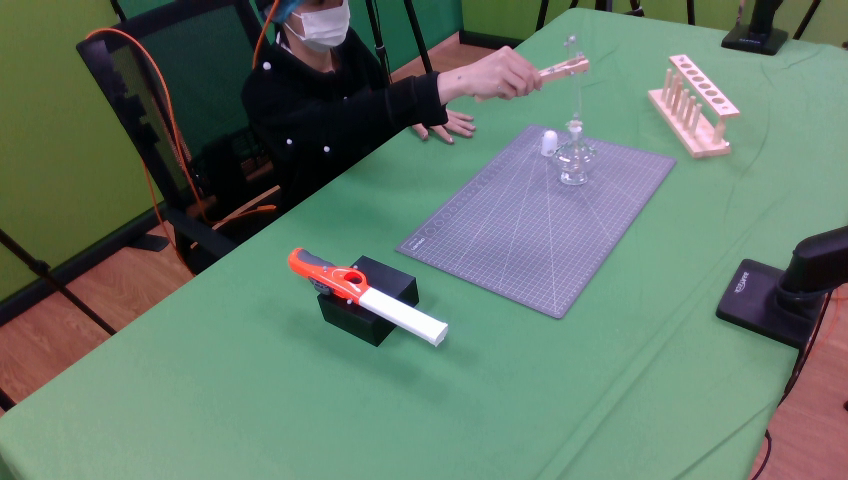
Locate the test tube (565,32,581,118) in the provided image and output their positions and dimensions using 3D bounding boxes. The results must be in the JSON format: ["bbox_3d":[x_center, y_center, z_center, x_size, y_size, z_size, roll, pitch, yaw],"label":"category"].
[{"bbox_3d":[0.234,-0.254,0.944,0.017,0.151,0.017,-10,46,10],"label":"test tube"}]

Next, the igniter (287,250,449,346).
[{"bbox_3d":[-0.087,0.073,0.825,0.274,0.025,0.057,23,48,27],"label":"igniter"}]

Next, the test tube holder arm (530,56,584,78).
[{"bbox_3d":[0.206,-0.262,0.934,0.088,0.015,0.010,-22,45,-3],"label":"test tube holder arm"}]

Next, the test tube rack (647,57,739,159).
[{"bbox_3d":[0.504,-0.257,1.153,0.067,0.085,0.241,-8,40,1],"label":"test tube rack"}]

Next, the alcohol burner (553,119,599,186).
[{"bbox_3d":[0.261,-0.153,1.042,0.078,0.119,0.077,-6,40,6],"label":"alcohol burner"}]

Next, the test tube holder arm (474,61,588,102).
[{"bbox_3d":[0.164,-0.244,0.930,0.178,0.015,0.013,-16,45,3],"label":"test tube holder arm"}]

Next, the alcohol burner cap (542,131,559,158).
[{"bbox_3d":[0.237,-0.180,1.134,0.034,0.048,0.033,-5,41,5],"label":"alcohol burner cap"}]
